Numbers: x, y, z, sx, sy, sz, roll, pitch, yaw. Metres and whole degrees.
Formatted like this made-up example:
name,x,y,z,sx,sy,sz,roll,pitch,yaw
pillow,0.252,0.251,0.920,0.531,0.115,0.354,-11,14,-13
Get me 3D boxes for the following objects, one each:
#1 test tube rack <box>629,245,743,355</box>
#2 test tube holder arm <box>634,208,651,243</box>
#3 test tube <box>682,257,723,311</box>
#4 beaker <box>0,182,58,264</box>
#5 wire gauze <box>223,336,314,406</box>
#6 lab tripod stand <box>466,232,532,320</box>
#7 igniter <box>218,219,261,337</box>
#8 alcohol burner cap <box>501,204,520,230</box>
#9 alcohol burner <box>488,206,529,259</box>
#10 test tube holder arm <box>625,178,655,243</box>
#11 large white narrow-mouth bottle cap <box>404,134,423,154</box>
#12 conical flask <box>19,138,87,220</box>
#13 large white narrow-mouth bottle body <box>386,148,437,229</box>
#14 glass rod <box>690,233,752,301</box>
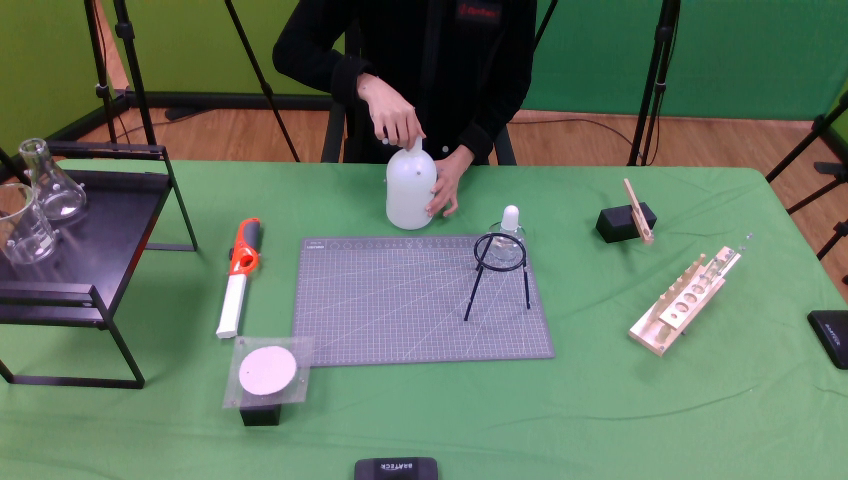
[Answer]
name,x,y,z,sx,sy,sz,roll,pitch,yaw
test tube rack,0.474,0.095,1.091,0.242,0.085,0.066,-34,56,-31
test tube holder arm,0.428,-0.030,1.189,0.010,0.015,0.087,2,47,-2
test tube,0.474,0.080,1.037,0.017,0.151,0.017,1,51,-1
beaker,-0.582,-0.019,0.870,0.074,0.101,0.083,5,46,1
wire gauze,-0.237,0.197,0.931,0.121,0.011,0.124,1,45,-4
lab tripod stand,0.125,0.059,1.065,0.148,0.132,0.147,1,45,0
igniter,-0.336,0.060,1.111,0.057,0.025,0.274,-8,46,3
alcohol burner cap,0.164,-0.046,1.133,0.034,0.048,0.033,2,40,-2
alcohol burner,0.163,-0.020,1.158,0.078,0.120,0.077,0,47,0
test tube holder arm,0.433,-0.062,1.220,0.013,0.015,0.177,1,47,-3
large white narrow-mouth bottle cap,-0.020,-0.179,1.125,0.038,0.024,0.037,2,46,-2
conical flask,-0.576,-0.097,0.930,0.075,0.122,0.075,2,46,-2
large white narrow-mouth bottle body,-0.025,-0.119,1.190,0.102,0.195,0.101,2,46,-2
glass rod,0.507,0.053,1.041,0.008,0.200,0.008,5,51,-6
